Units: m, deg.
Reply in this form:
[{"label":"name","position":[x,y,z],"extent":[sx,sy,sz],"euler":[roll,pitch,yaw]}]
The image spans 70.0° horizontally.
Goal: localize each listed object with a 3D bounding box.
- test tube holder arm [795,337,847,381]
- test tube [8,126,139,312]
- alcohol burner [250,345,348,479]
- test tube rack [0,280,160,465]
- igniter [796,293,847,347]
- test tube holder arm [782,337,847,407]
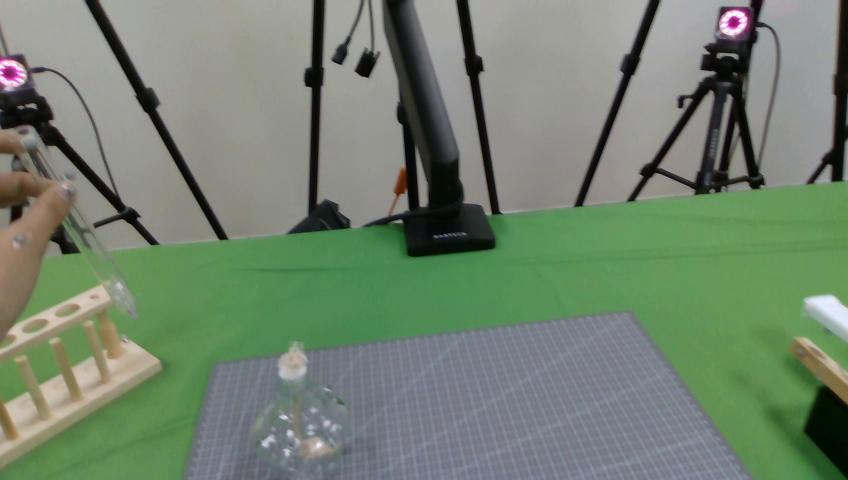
[{"label":"test tube holder arm","position":[0.341,0.131,0.454],"extent":[0.013,0.015,0.176],"euler":[-4,29,-13]},{"label":"test tube","position":[-0.223,-0.006,0.397],"extent":[0.017,0.152,0.017],"euler":[-5,41,4]},{"label":"alcohol burner","position":[-0.101,0.134,0.482],"extent":[0.078,0.120,0.077],"euler":[-2,28,1]},{"label":"test tube rack","position":[-0.372,0.135,0.537],"extent":[0.066,0.086,0.242],"euler":[20,36,33]},{"label":"igniter","position":[0.395,0.118,0.467],"extent":[0.057,0.025,0.274],"euler":[-7,26,-6]},{"label":"test tube holder arm","position":[0.326,0.110,0.491],"extent":[0.010,0.015,0.087],"euler":[-3,29,-12]}]
